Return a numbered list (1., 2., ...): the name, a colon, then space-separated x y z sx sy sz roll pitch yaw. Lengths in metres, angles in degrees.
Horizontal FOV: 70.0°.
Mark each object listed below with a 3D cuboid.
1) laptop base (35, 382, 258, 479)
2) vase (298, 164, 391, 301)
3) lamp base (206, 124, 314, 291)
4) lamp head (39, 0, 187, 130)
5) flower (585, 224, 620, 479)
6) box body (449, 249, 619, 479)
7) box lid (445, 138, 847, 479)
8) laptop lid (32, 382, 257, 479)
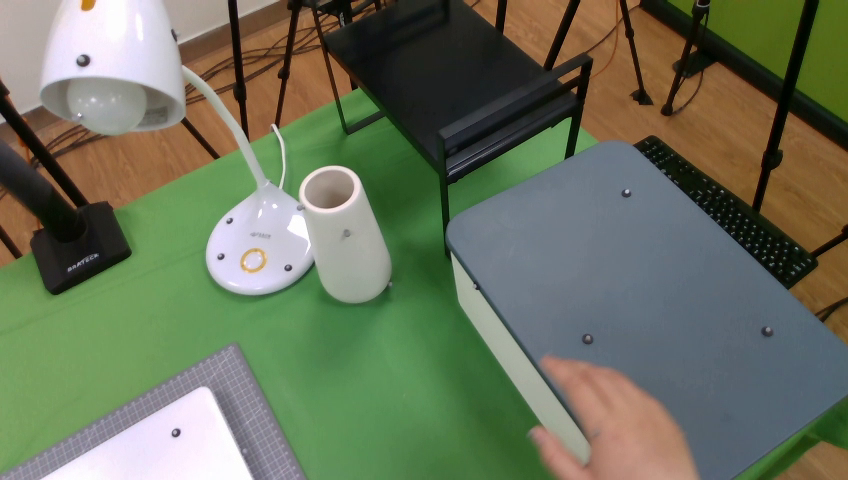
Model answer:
1. laptop base: -0.347 0.338 0.651 0.354 0.023 0.233 -30 63 -15
2. vase: -0.099 -0.006 0.752 0.098 0.202 0.097 -3 56 5
3. lamp base: -0.234 -0.050 0.803 0.160 0.182 0.177 -1 54 3
4. lamp head: -0.262 -0.167 0.522 0.112 0.113 0.122 -4 74 2
5. flower: 0.223 0.137 0.733 0.044 0.038 0.358 -13 53 29
6. box body: 0.220 0.095 0.685 0.254 0.162 0.360 -28 59 -13
7. box lid: 0.214 0.053 0.623 0.263 0.015 0.367 -27 59 -14
8. laptop lid: -0.346 0.334 0.640 0.357 0.013 0.239 -29 62 -14
